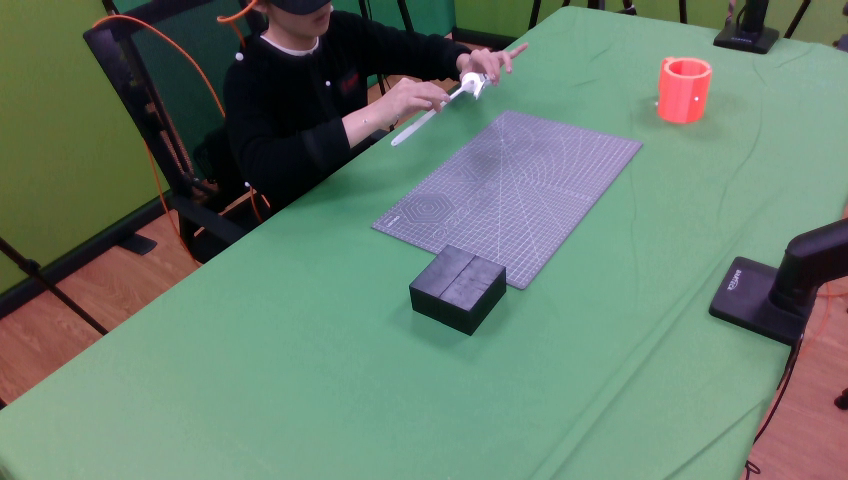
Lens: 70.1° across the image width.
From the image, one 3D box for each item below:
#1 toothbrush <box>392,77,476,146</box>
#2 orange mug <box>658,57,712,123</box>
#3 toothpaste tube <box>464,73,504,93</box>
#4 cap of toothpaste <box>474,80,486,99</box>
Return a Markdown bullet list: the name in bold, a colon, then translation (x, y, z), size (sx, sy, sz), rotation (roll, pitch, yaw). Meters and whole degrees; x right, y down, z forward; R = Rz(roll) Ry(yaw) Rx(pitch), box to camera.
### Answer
- **toothbrush**: translation (0.015, -0.224, 1.057), size (0.181, 0.014, 0.016), rotation (-37, 44, 11)
- **orange mug**: translation (0.504, -0.304, 1.193), size (0.083, 0.101, 0.125), rotation (-13, 45, -5)
- **toothpaste tube**: translation (0.108, -0.297, 1.126), size (0.055, 0.034, 0.165), rotation (7, 20, 16)
- **cap of toothpaste**: translation (0.096, -0.261, 1.043), size (0.011, 0.037, 0.037), rotation (26, 46, 2)
